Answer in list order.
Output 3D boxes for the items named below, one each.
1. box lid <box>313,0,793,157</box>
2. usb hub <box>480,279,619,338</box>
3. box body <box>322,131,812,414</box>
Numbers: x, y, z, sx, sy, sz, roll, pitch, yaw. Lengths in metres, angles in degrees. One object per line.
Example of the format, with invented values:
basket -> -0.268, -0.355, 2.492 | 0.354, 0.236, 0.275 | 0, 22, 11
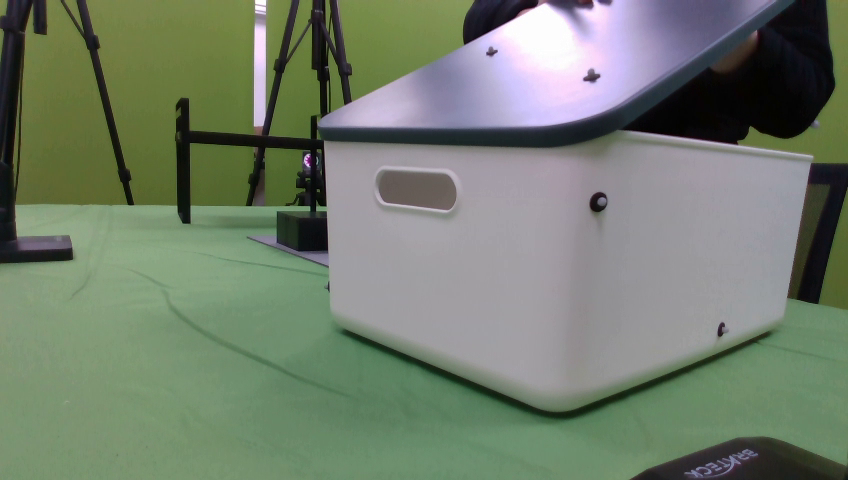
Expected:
box lid -> 0.118, -0.153, 0.477 | 0.373, 0.015, 0.262 | -36, 32, -32
usb hub -> 0.111, 0.057, 0.525 | 0.126, 0.025, 0.049 | -6, 13, -35
box body -> 0.124, -0.001, 0.510 | 0.366, 0.160, 0.253 | -4, 10, -42
